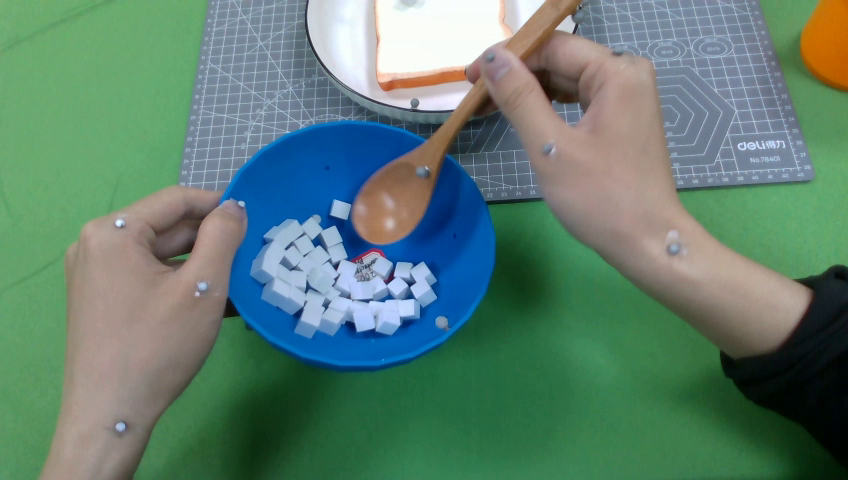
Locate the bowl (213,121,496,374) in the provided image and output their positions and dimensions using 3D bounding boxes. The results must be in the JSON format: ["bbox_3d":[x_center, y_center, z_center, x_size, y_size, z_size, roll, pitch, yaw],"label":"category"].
[{"bbox_3d":[-0.040,0.013,0.356,0.152,0.077,0.150,4,62,-8],"label":"bowl"}]

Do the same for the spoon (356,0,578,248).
[{"bbox_3d":[0.022,-0.064,0.314,0.022,0.194,0.041,-15,63,-51],"label":"spoon"}]

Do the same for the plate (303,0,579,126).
[{"bbox_3d":[0.012,-0.172,0.473,0.209,0.038,0.207,-2,66,5],"label":"plate"}]

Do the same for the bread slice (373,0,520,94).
[{"bbox_3d":[0.009,-0.176,0.478,0.107,0.018,0.133,-10,67,2],"label":"bread slice"}]
